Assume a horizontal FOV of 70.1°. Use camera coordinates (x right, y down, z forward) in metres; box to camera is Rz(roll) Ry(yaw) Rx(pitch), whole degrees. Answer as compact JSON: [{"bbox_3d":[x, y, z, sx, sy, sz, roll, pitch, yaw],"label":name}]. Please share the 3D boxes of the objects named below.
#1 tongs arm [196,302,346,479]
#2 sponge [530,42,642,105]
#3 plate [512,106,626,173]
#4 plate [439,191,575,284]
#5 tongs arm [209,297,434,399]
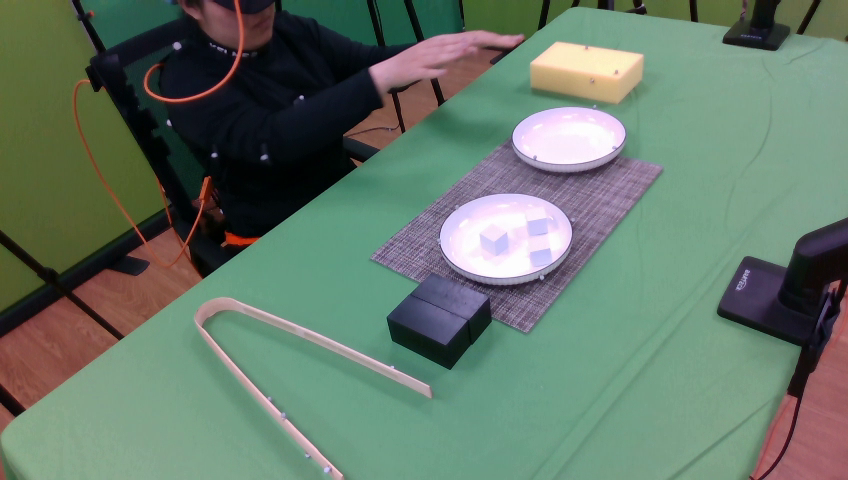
[{"bbox_3d":[-0.206,0.185,0.791,0.381,0.026,0.051,28,52,37],"label":"tongs arm"},{"bbox_3d":[0.350,-0.365,1.317,0.205,0.061,0.118,21,50,31],"label":"sponge"},{"bbox_3d":[0.269,-0.185,1.132,0.209,0.038,0.208,-5,40,5],"label":"plate"},{"bbox_3d":[0.129,-0.001,0.942,0.207,0.039,0.206,-5,40,5],"label":"plate"},{"bbox_3d":[-0.153,0.143,0.837,0.385,0.028,0.028,16,49,28],"label":"tongs arm"}]
